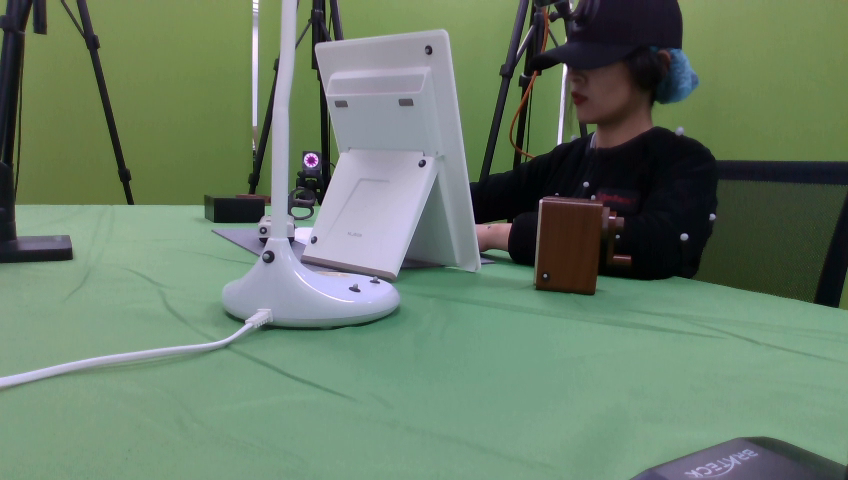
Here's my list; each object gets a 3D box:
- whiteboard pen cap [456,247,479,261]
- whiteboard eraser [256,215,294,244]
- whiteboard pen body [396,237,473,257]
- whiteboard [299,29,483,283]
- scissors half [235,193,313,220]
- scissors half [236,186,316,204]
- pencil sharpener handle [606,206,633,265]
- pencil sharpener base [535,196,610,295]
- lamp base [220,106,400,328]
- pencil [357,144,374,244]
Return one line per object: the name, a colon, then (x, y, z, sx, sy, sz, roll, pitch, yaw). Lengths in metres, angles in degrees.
whiteboard pen cap: (0.060, 0.020, 0.851, 0.033, 0.018, 0.018, 10, 10, 37)
whiteboard eraser: (-0.232, -0.016, 0.951, 0.056, 0.042, 0.112, 2, 7, -12)
whiteboard pen body: (0.014, 0.012, 0.886, 0.140, 0.017, 0.017, 10, 11, 38)
whiteboard: (-0.074, -0.082, 0.742, 0.216, 0.305, 0.144, 9, 30, 38)
scissors half: (-0.325, -0.077, 1.319, 0.176, 0.040, 0.012, 17, 6, -32)
scissors half: (-0.320, -0.097, 1.316, 0.176, 0.040, 0.013, -3, 11, -29)
pencil sharpener handle: (0.223, -0.004, 0.683, 0.030, 0.068, 0.036, 5, 21, 17)
pencil sharpener base: (0.172, 0.005, 0.695, 0.076, 0.107, 0.061, 5, 7, 16)
lamp base: (-0.101, -0.023, 0.531, 0.160, 0.180, 0.179, 4, 10, 10)
pencil: (-0.099, -0.079, 1.015, 0.012, 0.193, 0.012, 4, -26, 2)
